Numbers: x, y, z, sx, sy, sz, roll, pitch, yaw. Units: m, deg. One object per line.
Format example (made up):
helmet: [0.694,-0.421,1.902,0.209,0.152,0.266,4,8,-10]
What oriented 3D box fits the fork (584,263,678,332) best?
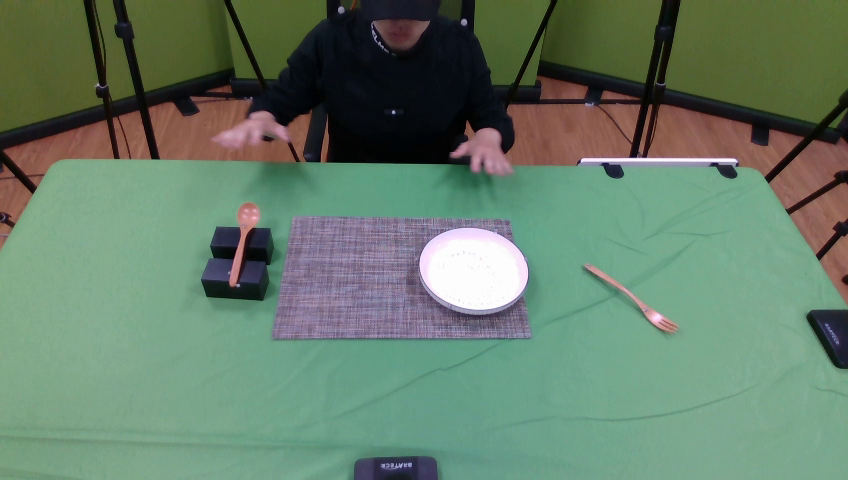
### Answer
fork: [0.380,0.103,1.130,0.028,0.019,0.206,-34,58,-23]

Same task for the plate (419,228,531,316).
plate: [0.093,0.062,1.131,0.208,0.039,0.206,2,46,-2]

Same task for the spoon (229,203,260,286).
spoon: [-0.331,0.005,1.100,0.042,0.022,0.192,17,43,-19]
